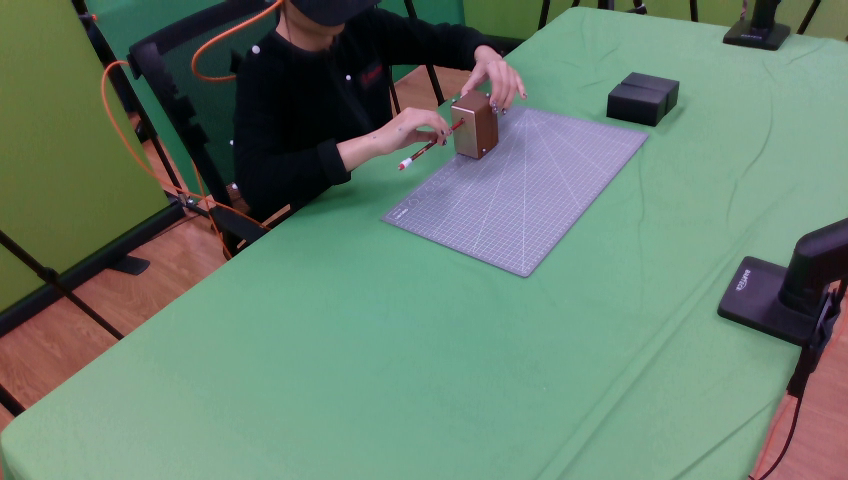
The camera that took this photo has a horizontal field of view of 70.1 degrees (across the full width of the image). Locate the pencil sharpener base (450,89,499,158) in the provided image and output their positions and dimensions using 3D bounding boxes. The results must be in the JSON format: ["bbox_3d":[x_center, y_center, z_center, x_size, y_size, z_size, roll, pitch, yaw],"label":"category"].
[{"bbox_3d":[0.099,-0.223,1.155,0.061,0.107,0.077,23,49,33],"label":"pencil sharpener base"}]

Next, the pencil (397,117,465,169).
[{"bbox_3d":[0.019,-0.178,1.075,0.012,0.012,0.194,25,52,34],"label":"pencil"}]

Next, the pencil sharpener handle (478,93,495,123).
[{"bbox_3d":[0.127,-0.262,1.177,0.036,0.068,0.031,31,53,24],"label":"pencil sharpener handle"}]
